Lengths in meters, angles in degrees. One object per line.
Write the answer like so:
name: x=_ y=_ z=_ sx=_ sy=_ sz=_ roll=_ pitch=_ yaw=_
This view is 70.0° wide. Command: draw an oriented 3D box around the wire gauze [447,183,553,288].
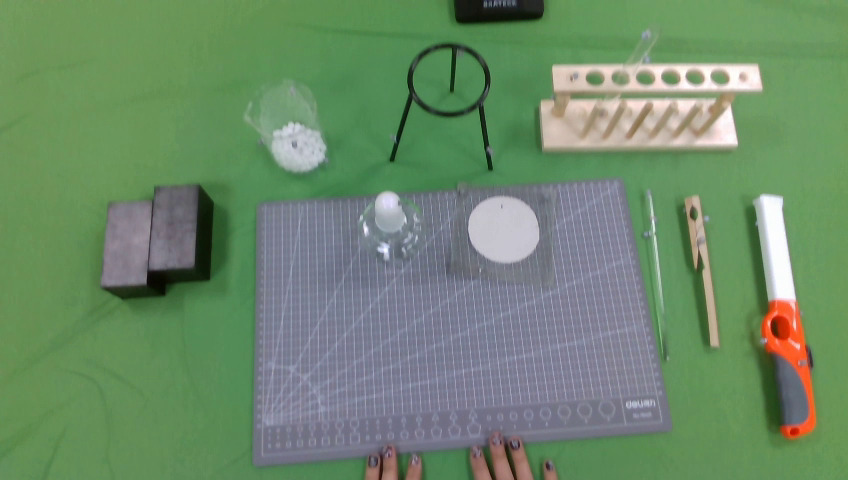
wire gauze: x=0.093 y=-0.009 z=0.726 sx=0.125 sy=0.011 sz=0.121 roll=7 pitch=72 yaw=1

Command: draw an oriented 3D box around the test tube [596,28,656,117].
test tube: x=0.229 y=-0.188 z=0.699 sx=0.017 sy=0.151 sz=0.017 roll=2 pitch=68 yaw=-4

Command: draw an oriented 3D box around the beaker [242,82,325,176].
beaker: x=-0.161 y=-0.125 z=0.716 sx=0.084 sy=0.101 sz=0.073 roll=-12 pitch=71 yaw=-4

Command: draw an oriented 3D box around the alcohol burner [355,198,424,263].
alcohol burner: x=-0.040 y=-0.018 z=0.670 sx=0.078 sy=0.120 sz=0.077 roll=0 pitch=71 yaw=2

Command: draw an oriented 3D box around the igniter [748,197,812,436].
igniter: x=0.404 y=0.081 z=0.691 sx=0.057 sy=0.025 sz=0.274 roll=6 pitch=71 yaw=-10

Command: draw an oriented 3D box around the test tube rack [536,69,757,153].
test tube rack: x=0.267 y=-0.156 z=0.740 sx=0.242 sy=0.085 sz=0.066 roll=-1 pitch=71 yaw=-1

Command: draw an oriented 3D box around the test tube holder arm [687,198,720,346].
test tube holder arm: x=0.326 y=0.035 z=0.709 sx=0.013 sy=0.015 sz=0.177 roll=-15 pitch=67 yaw=32

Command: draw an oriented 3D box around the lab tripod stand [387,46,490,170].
lab tripod stand: x=0.021 y=-0.147 z=0.708 sx=0.148 sy=0.132 sz=0.147 roll=0 pitch=73 yaw=0

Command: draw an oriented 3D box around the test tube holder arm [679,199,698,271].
test tube holder arm: x=0.320 y=-0.006 z=0.727 sx=0.010 sy=0.015 sz=0.087 roll=-14 pitch=68 yaw=32

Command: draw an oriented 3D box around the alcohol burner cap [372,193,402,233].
alcohol burner cap: x=-0.040 y=-0.031 z=0.637 sx=0.034 sy=0.048 sz=0.033 roll=1 pitch=64 yaw=-1

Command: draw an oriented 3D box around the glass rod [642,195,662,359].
glass rod: x=0.269 y=0.040 z=0.713 sx=0.008 sy=0.008 sz=0.198 roll=1 pitch=73 yaw=-1
